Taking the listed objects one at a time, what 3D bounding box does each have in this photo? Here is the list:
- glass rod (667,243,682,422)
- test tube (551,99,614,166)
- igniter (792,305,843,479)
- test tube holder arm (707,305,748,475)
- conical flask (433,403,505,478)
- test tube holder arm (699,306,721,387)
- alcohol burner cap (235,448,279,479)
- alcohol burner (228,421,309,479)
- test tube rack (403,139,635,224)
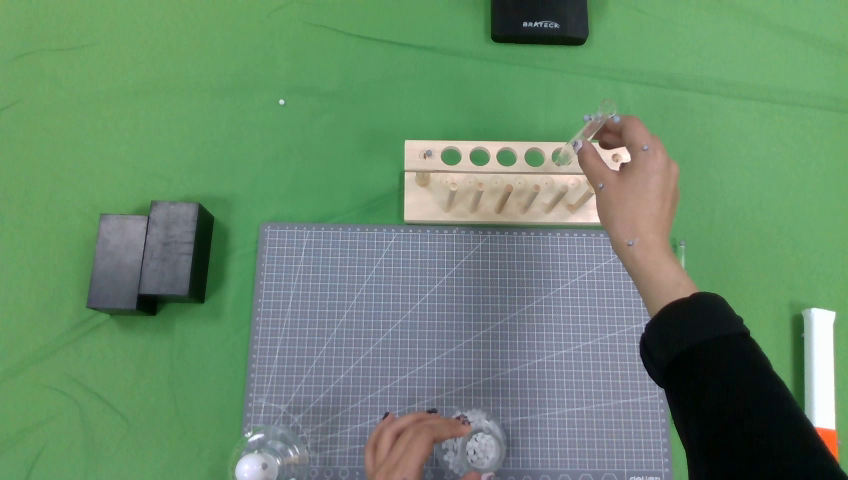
[{"bbox_3d":[0.279,0.100,0.672,0.008,0.008,0.199,8,78,0],"label":"glass rod"},{"bbox_3d":[0.148,-0.098,0.580,0.017,0.150,0.017,1,78,-3],"label":"test tube"},{"bbox_3d":[0.416,0.207,0.641,0.057,0.025,0.275,11,76,-9],"label":"igniter"},{"bbox_3d":[0.325,0.159,0.653,0.013,0.015,0.177,-15,74,31],"label":"test tube holder arm"},{"bbox_3d":[0.048,0.194,0.579,0.075,0.122,0.075,0,75,-2],"label":"conical flask"},{"bbox_3d":[0.316,0.117,0.666,0.010,0.015,0.087,-13,75,31],"label":"test tube holder arm"},{"bbox_3d":[-0.150,0.200,0.537,0.034,0.048,0.033,1,67,-1],"label":"alcohol burner cap"},{"bbox_3d":[-0.151,0.212,0.571,0.078,0.119,0.077,0,74,0],"label":"alcohol burner"},{"bbox_3d":[0.098,-0.062,0.667,0.242,0.085,0.066,1,76,-2],"label":"test tube rack"}]
